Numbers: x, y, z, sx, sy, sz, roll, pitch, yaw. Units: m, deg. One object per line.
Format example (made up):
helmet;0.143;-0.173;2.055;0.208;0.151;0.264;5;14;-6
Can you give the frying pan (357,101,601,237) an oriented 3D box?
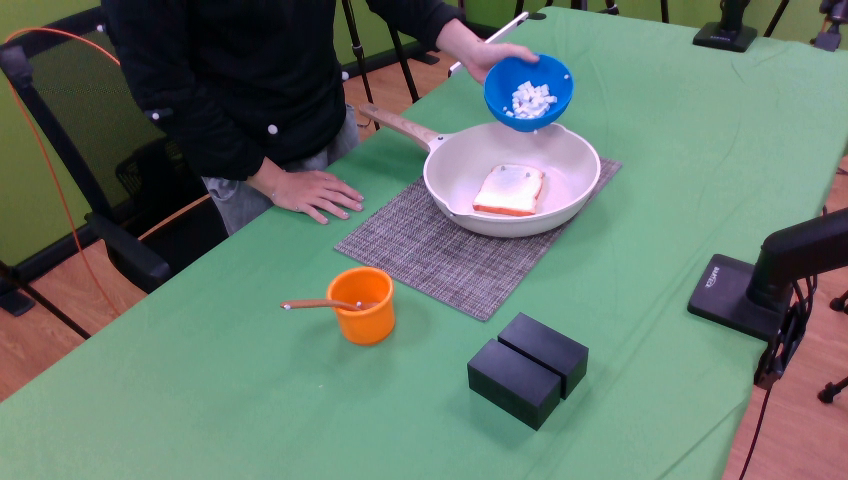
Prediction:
frying pan;0.067;-0.153;1.067;0.484;0.103;0.308;32;52;26

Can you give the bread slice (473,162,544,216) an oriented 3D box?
bread slice;0.149;-0.088;1.042;0.106;0.018;0.134;7;45;15

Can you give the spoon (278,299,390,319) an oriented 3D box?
spoon;-0.113;0.087;0.787;0.041;0.021;0.195;29;8;36

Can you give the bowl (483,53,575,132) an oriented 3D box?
bowl;0.177;-0.239;1.034;0.151;0.077;0.150;-3;59;5
